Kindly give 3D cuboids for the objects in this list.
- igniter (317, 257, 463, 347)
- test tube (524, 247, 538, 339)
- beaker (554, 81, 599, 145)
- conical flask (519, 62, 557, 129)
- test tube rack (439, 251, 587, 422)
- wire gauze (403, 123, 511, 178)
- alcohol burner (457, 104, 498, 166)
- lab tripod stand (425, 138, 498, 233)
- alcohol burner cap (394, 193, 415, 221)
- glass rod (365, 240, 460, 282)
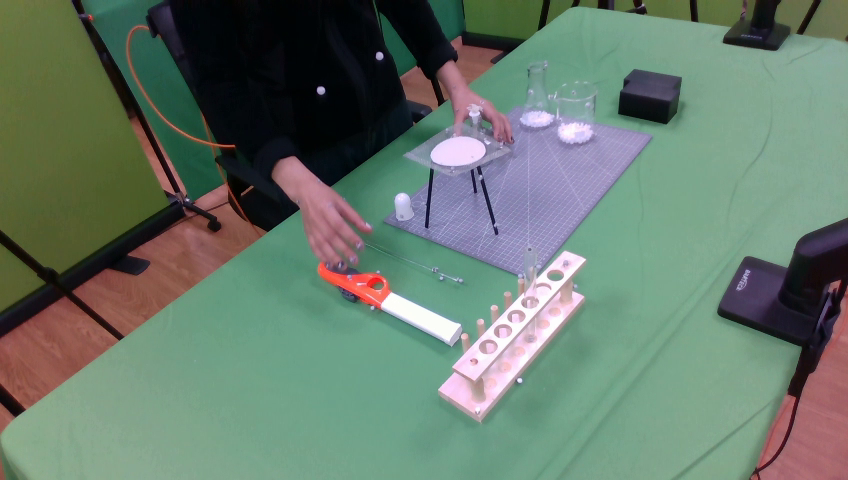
[{"bbox_3d":[-0.061,0.086,0.891,0.274,0.025,0.057,23,59,33],"label":"igniter"},{"bbox_3d":[0.133,0.070,0.749,0.017,0.151,0.017,-5,38,4],"label":"test tube"},{"bbox_3d":[0.286,-0.237,1.144,0.084,0.101,0.073,-17,40,-7],"label":"beaker"},{"bbox_3d":[0.225,-0.287,1.198,0.075,0.122,0.075,-6,40,5],"label":"conical flask"},{"bbox_3d":[0.118,0.111,0.780,0.066,0.085,0.243,26,51,35],"label":"test tube rack"},{"bbox_3d":[0.051,-0.140,0.943,0.125,0.011,0.120,-31,43,-25],"label":"wire gauze"},{"bbox_3d":[0.099,-0.198,1.124,0.078,0.119,0.077,-5,38,4],"label":"alcohol burner"},{"bbox_3d":[0.064,-0.091,0.988,0.148,0.132,0.147,-6,39,6],"label":"lab tripod stand"},{"bbox_3d":[-0.036,-0.059,1.040,0.034,0.048,0.033,-6,41,5],"label":"alcohol burner cap"},{"bbox_3d":[-0.022,0.032,0.961,0.198,0.008,0.008,21,49,34],"label":"glass rod"}]
